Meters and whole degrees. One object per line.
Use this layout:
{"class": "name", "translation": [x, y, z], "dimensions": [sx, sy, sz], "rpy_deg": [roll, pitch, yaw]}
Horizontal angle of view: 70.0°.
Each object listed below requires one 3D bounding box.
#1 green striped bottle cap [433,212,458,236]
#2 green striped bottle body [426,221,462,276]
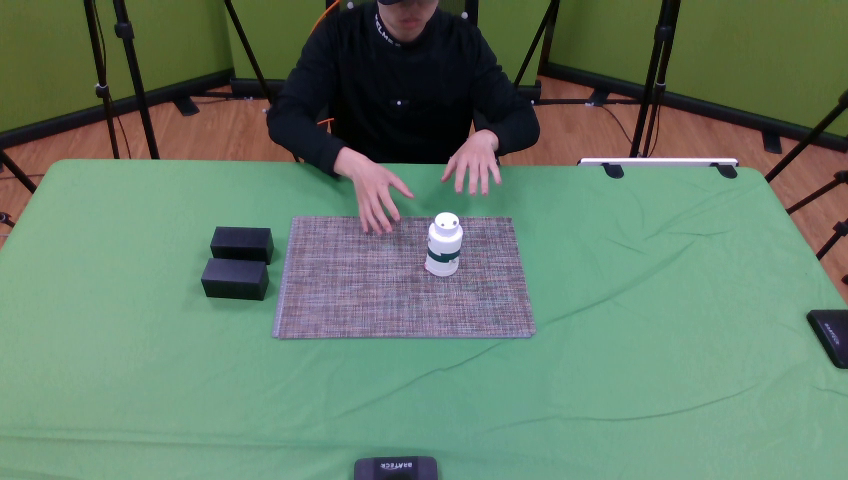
{"class": "green striped bottle cap", "translation": [0.039, -0.030, 1.085], "dimensions": [0.044, 0.020, 0.044], "rpy_deg": [3, 46, -3]}
{"class": "green striped bottle body", "translation": [0.037, 0.007, 1.121], "dimensions": [0.063, 0.120, 0.063], "rpy_deg": [2, 46, -2]}
